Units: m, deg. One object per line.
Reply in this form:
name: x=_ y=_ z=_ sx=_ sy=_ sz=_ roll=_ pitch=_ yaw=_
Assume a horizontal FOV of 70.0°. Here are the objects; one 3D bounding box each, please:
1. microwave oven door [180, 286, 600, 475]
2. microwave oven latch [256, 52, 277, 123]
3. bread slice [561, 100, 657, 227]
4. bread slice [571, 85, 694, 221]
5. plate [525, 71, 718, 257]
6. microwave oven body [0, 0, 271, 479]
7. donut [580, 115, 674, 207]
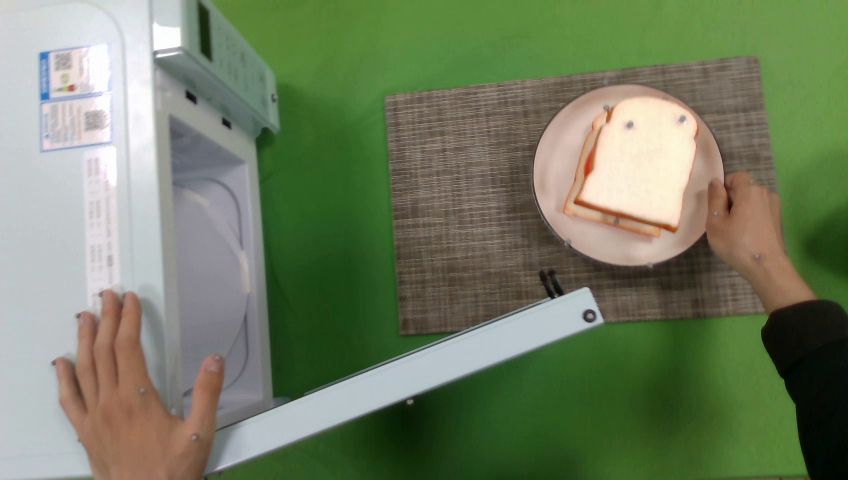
microwave oven door: x=-0.017 y=0.122 z=0.589 sx=0.356 sy=0.244 sz=0.039 roll=-23 pitch=81 yaw=4
microwave oven latch: x=-0.199 y=-0.186 z=0.741 sx=0.030 sy=0.029 sz=0.079 roll=-6 pitch=84 yaw=5
bread slice: x=0.217 y=-0.090 z=0.678 sx=0.107 sy=0.018 sz=0.134 roll=12 pitch=85 yaw=3
bread slice: x=0.218 y=-0.095 z=0.621 sx=0.104 sy=0.019 sz=0.131 roll=15 pitch=85 yaw=8
plate: x=0.216 y=-0.083 z=0.677 sx=0.207 sy=0.039 sz=0.207 roll=0 pitch=84 yaw=2
microwave oven body: x=-0.339 y=-0.005 z=0.640 sx=0.326 sy=0.261 sz=0.440 roll=-7 pitch=84 yaw=5
donut: x=0.216 y=-0.084 z=0.649 sx=0.099 sy=0.048 sz=0.099 roll=0 pitch=87 yaw=0
